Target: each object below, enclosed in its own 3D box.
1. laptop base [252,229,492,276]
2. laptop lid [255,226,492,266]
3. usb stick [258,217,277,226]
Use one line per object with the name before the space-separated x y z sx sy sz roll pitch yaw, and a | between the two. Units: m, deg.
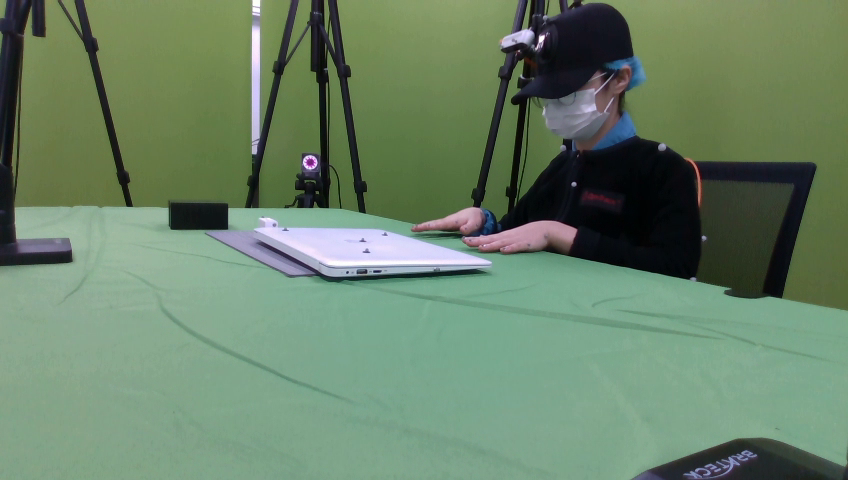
laptop base | -0.094 0.016 0.889 0.237 0.023 0.352 2 7 -30
laptop lid | -0.092 0.003 0.888 0.243 0.013 0.355 1 8 -28
usb stick | -0.261 -0.022 1.016 0.021 0.027 0.059 0 13 -30
